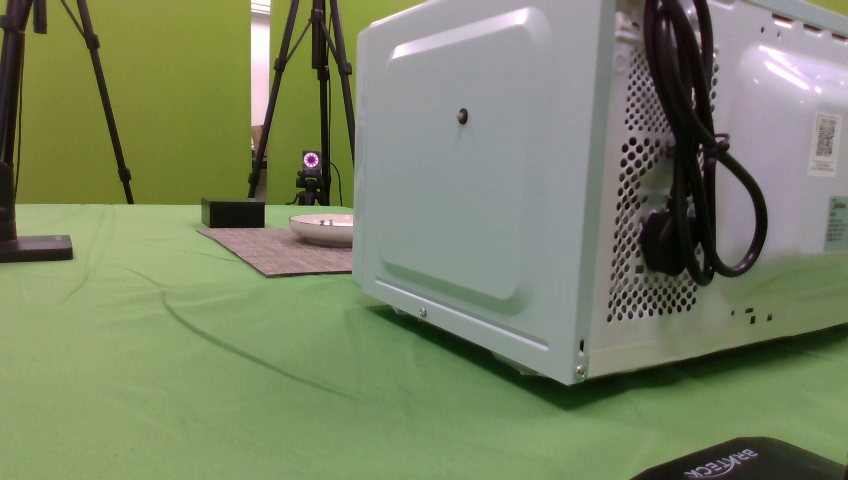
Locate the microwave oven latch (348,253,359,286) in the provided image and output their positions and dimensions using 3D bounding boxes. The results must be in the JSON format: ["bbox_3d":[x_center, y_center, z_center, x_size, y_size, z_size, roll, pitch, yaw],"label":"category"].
[{"bbox_3d":[-0.034,0.028,0.581,0.079,0.029,0.030,-1,7,-31],"label":"microwave oven latch"}]

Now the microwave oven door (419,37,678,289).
[{"bbox_3d":[0.159,-0.078,0.684,0.358,0.243,0.039,-2,9,-32],"label":"microwave oven door"}]

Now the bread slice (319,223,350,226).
[{"bbox_3d":[-0.122,-0.015,1.004,0.131,0.019,0.105,4,7,12],"label":"bread slice"}]

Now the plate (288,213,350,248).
[{"bbox_3d":[-0.121,-0.017,1.008,0.209,0.038,0.209,3,8,0],"label":"plate"}]

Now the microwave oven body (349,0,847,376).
[{"bbox_3d":[0.199,-0.053,0.539,0.444,0.260,0.324,-1,8,-32],"label":"microwave oven body"}]
